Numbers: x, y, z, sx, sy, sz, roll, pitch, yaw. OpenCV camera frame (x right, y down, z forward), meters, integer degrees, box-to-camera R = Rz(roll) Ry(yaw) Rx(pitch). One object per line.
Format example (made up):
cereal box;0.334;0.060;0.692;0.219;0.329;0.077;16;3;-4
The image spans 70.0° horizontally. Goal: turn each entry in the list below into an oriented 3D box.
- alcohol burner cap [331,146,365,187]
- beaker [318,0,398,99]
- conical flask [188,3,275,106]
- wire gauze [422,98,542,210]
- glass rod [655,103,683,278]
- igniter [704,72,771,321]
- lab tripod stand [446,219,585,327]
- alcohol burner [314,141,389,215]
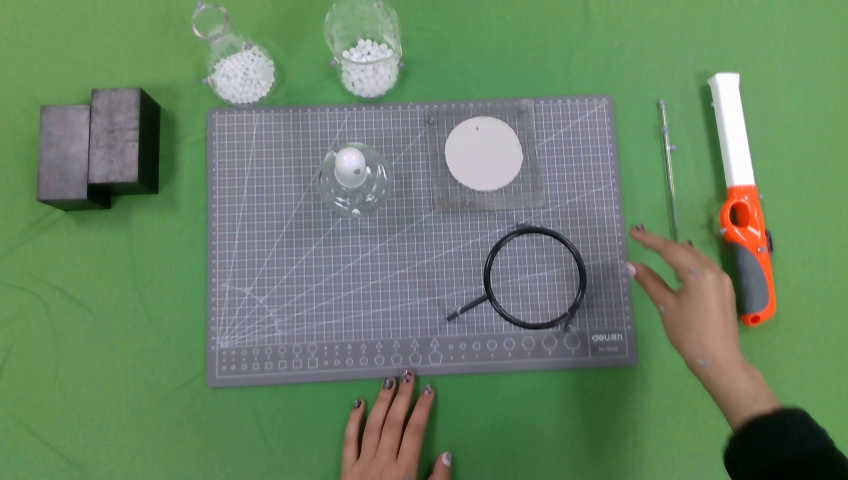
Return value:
alcohol burner cap;-0.072;-0.072;0.570;0.034;0.048;0.033;1;82;-7
beaker;-0.062;-0.196;0.635;0.084;0.100;0.074;33;82;3
conical flask;-0.201;-0.192;0.618;0.075;0.122;0.075;0;81;-2
wire gauze;0.064;-0.095;0.668;0.125;0.011;0.121;-4;83;-4
glass rod;0.271;-0.057;0.670;0.008;0.008;0.199;-4;81;-3
igniter;0.342;-0.051;0.663;0.057;0.025;0.275;-3;82;-13
lab tripod stand;0.091;0.043;0.585;0.148;0.132;0.148;0;83;-1
alcohol burner;-0.074;-0.066;0.605;0.078;0.119;0.077;0;83;-2
